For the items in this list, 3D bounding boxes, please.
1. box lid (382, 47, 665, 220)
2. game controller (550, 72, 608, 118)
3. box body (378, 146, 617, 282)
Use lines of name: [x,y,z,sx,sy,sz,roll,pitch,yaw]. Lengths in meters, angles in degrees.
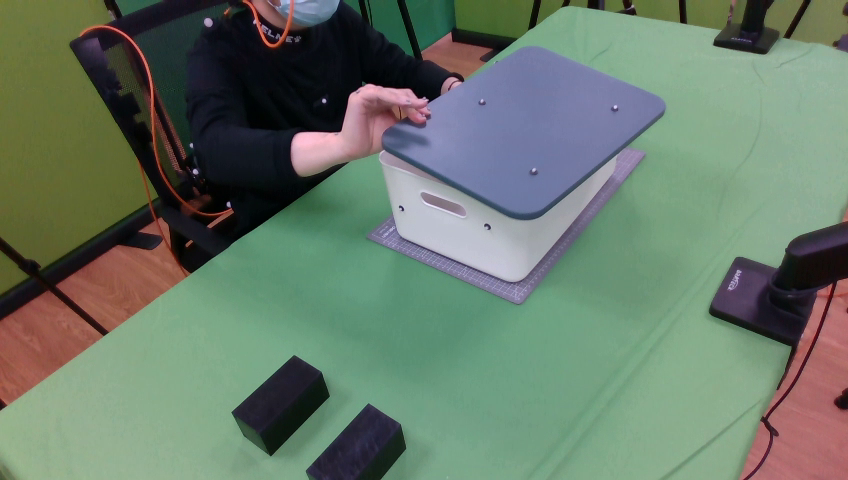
box lid: [0.151,-0.171,0.856,0.261,0.015,0.373,33,51,27]
game controller: [0.326,-0.306,1.260,0.096,0.052,0.155,14,45,17]
box body: [0.137,-0.121,0.978,0.252,0.161,0.365,22,48,30]
